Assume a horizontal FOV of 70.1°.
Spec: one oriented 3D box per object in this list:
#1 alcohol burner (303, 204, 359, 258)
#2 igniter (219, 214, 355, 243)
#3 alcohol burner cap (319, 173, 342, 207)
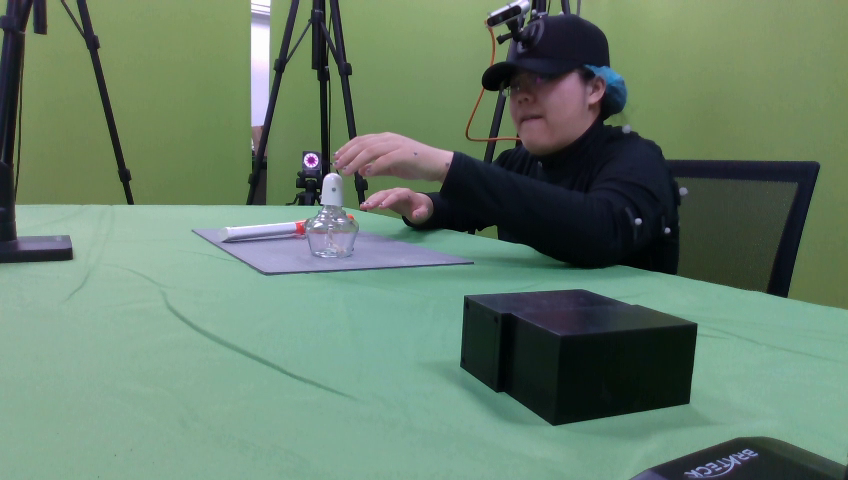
[{"bbox_3d":[-0.130,-0.034,0.850,0.078,0.119,0.078,2,5,0],"label":"alcohol burner"},{"bbox_3d":[-0.220,-0.021,1.033,0.057,0.025,0.278,-21,-7,39],"label":"igniter"},{"bbox_3d":[-0.129,-0.070,0.845,0.034,0.048,0.034,4,4,0],"label":"alcohol burner cap"}]
